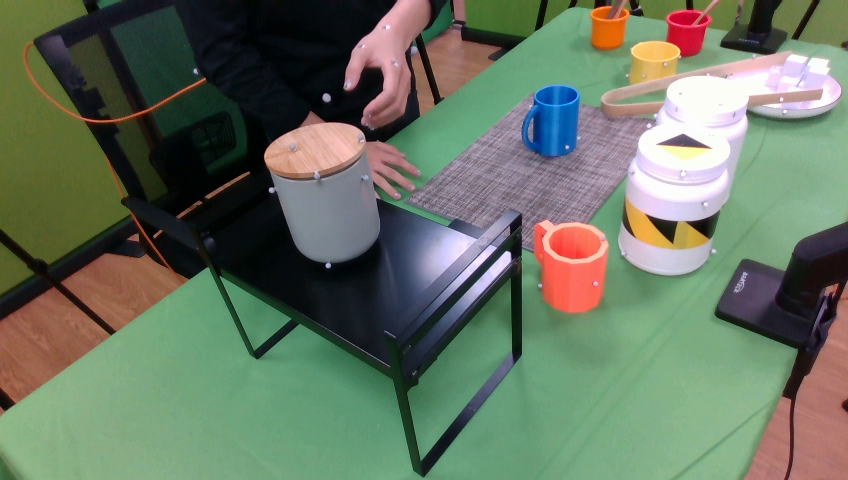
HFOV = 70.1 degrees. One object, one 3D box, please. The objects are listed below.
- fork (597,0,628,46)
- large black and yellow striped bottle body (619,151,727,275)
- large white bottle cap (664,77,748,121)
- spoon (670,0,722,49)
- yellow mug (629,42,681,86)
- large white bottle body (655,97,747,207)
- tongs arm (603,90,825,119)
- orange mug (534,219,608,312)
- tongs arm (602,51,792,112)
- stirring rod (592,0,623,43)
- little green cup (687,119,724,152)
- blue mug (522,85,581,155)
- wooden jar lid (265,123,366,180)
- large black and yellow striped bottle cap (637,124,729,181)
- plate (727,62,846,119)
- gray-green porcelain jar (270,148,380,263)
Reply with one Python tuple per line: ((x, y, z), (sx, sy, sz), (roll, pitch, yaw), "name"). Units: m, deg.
((0.479, -0.558, 1.455), (0.028, 0.019, 0.207), (35, 100, 38), "fork")
((0.354, -0.056, 0.865), (0.131, 0.185, 0.130), (-4, 41, 4), "large black and yellow striped bottle body")
((0.421, -0.212, 0.905), (0.115, 0.018, 0.114), (-4, 40, 4), "large white bottle cap")
((0.639, -0.510, 1.380), (0.193, 0.022, 0.041), (-49, 40, 19), "spoon")
((0.495, -0.389, 1.321), (0.100, 0.064, 0.130), (-14, 40, -6), "yellow mug")
((0.431, -0.148, 0.959), (0.130, 0.185, 0.130), (-4, 41, 4), "large white bottle body")
((0.546, -0.262, 1.163), (0.386, 0.028, 0.028), (-1, 49, 18), "tongs arm")
((0.200, 0.027, 0.858), (0.084, 0.101, 0.125), (-24, 47, -18), "orange mug")
((0.552, -0.320, 1.224), (0.384, 0.027, 0.050), (-11, 44, 7), "tongs arm")
((0.460, -0.557, 1.461), (0.014, 0.176, 0.006), (35, 11, 22), "stirring rod")
((0.514, -0.191, 1.109), (0.061, 0.039, 0.061), (-5, 40, 5), "little green cup")
((0.233, -0.218, 1.127), (0.117, 0.106, 0.081), (-23, 43, -16), "blue mug")
((-0.115, -0.092, 0.651), (0.108, 0.021, 0.108), (-4, 38, 4), "wooden jar lid")
((0.346, -0.119, 0.810), (0.115, 0.019, 0.114), (-5, 41, 5), "large black and yellow striped bottle cap")
((0.710, -0.292, 1.197), (0.207, 0.039, 0.206), (-4, 40, 4), "plate")
((-0.109, -0.045, 0.692), (0.106, 0.127, 0.105), (-4, 40, 4), "gray-green porcelain jar")
